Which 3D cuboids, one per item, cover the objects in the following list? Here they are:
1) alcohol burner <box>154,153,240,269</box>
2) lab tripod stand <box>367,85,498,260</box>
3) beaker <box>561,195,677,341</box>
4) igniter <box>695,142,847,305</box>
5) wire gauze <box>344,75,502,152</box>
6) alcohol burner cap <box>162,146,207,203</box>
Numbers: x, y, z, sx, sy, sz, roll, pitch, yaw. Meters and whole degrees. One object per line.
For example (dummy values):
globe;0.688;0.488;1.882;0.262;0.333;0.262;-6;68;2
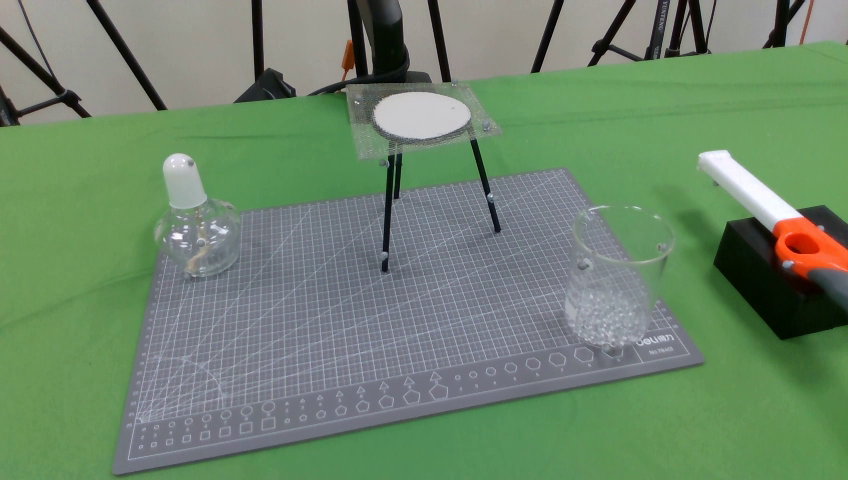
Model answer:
alcohol burner;-0.212;-0.032;0.556;0.078;0.120;0.077;0;42;0
lab tripod stand;0.001;-0.069;0.577;0.148;0.132;0.147;0;39;1
beaker;0.149;0.024;0.487;0.074;0.101;0.083;-20;43;-20
igniter;0.312;-0.012;0.512;0.057;0.025;0.273;-8;37;-5
wire gauze;-0.006;-0.118;0.531;0.122;0.011;0.123;-7;40;-8
alcohol burner cap;-0.213;-0.060;0.534;0.034;0.048;0.033;0;34;0
